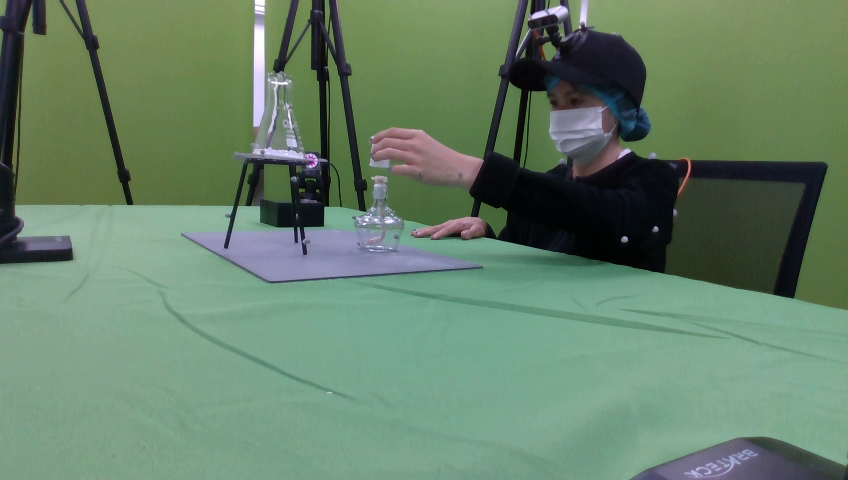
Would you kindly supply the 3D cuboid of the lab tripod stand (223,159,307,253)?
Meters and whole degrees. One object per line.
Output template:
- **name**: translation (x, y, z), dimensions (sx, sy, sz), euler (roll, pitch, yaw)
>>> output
- **lab tripod stand**: translation (-0.220, -0.053, 0.896), dimensions (0.148, 0.131, 0.148), euler (1, 6, 0)

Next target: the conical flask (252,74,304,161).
- **conical flask**: translation (-0.211, -0.177, 0.879), dimensions (0.075, 0.122, 0.075), euler (3, 6, 0)

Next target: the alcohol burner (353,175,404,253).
- **alcohol burner**: translation (-0.070, -0.040, 0.927), dimensions (0.078, 0.119, 0.078), euler (1, 9, 0)

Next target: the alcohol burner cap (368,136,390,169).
- **alcohol burner cap**: translation (-0.065, -0.131, 0.902), dimensions (0.034, 0.048, 0.034), euler (6, 16, -1)

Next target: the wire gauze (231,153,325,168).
- **wire gauze**: translation (-0.215, -0.117, 0.882), dimensions (0.125, 0.011, 0.121), euler (3, 7, -19)
